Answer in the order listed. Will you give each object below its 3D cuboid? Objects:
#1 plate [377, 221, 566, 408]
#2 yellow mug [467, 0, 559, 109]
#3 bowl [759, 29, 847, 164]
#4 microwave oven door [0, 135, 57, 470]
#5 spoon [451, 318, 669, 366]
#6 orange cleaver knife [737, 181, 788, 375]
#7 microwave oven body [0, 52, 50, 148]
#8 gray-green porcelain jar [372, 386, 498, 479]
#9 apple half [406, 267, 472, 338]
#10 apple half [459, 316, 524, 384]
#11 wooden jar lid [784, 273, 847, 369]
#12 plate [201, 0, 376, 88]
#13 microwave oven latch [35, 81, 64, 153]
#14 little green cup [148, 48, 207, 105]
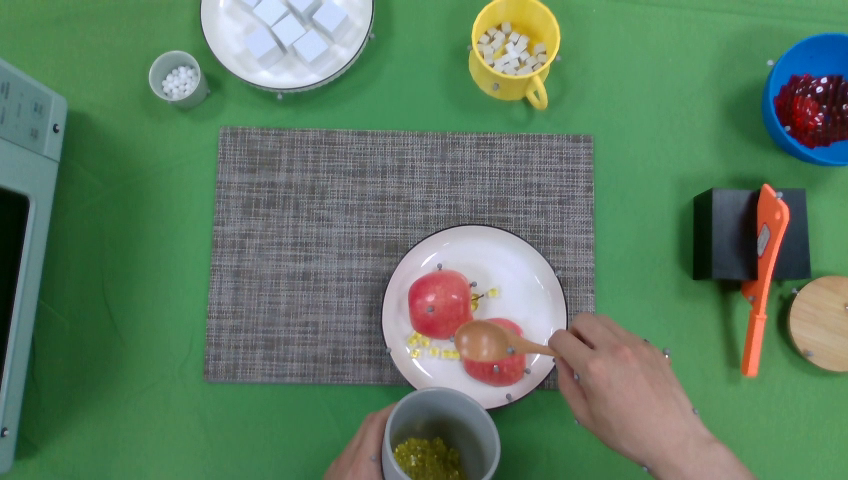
[{"bbox_3d":[0.053,0.083,0.684,0.209,0.038,0.208,0,84,1],"label":"plate"},{"bbox_3d":[0.110,-0.213,0.708,0.100,0.064,0.130,-27,84,-3],"label":"yellow mug"},{"bbox_3d":[0.447,-0.152,0.690,0.151,0.077,0.151,0,83,1],"label":"bowl"},{"bbox_3d":[-0.463,0.062,0.575,0.039,0.244,0.354,4,83,2],"label":"microwave oven door"},{"bbox_3d":[0.114,0.097,0.539,0.192,0.022,0.041,2,96,30],"label":"spoon"},{"bbox_3d":[0.363,0.044,0.667,0.012,0.077,0.212,3,107,4],"label":"orange cleaver knife"},{"bbox_3d":[-0.605,0.008,0.588,0.326,0.261,0.440,5,84,1],"label":"microwave oven body"},{"bbox_3d":[0.006,0.218,0.579,0.106,0.127,0.105,7,43,-6],"label":"gray-green porcelain jar"},{"bbox_3d":[0.016,0.069,0.671,0.074,0.053,0.080,-1,84,3],"label":"apple half"},{"bbox_3d":[0.076,0.123,0.672,0.081,0.033,0.081,0,80,0],"label":"apple half"},{"bbox_3d":[0.463,0.092,0.691,0.108,0.021,0.108,0,83,2],"label":"wooden jar lid"},{"bbox_3d":[-0.161,-0.280,0.734,0.208,0.039,0.207,0,83,1],"label":"plate"},{"bbox_3d":[-0.441,-0.143,0.701,0.030,0.029,0.079,8,84,1],"label":"microwave oven latch"},{"bbox_3d":[-0.290,-0.192,0.722,0.061,0.039,0.061,0,84,0],"label":"little green cup"}]
